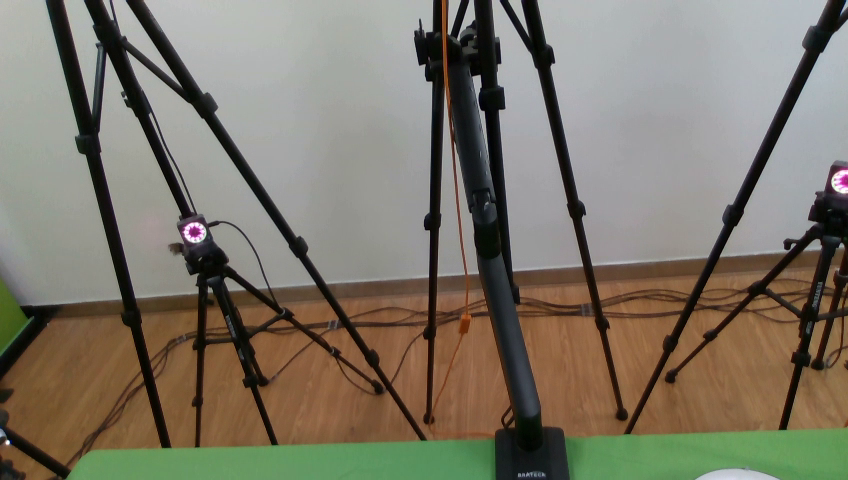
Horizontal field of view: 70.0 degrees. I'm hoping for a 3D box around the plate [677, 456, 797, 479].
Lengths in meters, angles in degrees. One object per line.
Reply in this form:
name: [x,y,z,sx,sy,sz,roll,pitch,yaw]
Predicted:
plate: [0.437,0.390,0.813,0.207,0.039,0.205,-5,35,4]
